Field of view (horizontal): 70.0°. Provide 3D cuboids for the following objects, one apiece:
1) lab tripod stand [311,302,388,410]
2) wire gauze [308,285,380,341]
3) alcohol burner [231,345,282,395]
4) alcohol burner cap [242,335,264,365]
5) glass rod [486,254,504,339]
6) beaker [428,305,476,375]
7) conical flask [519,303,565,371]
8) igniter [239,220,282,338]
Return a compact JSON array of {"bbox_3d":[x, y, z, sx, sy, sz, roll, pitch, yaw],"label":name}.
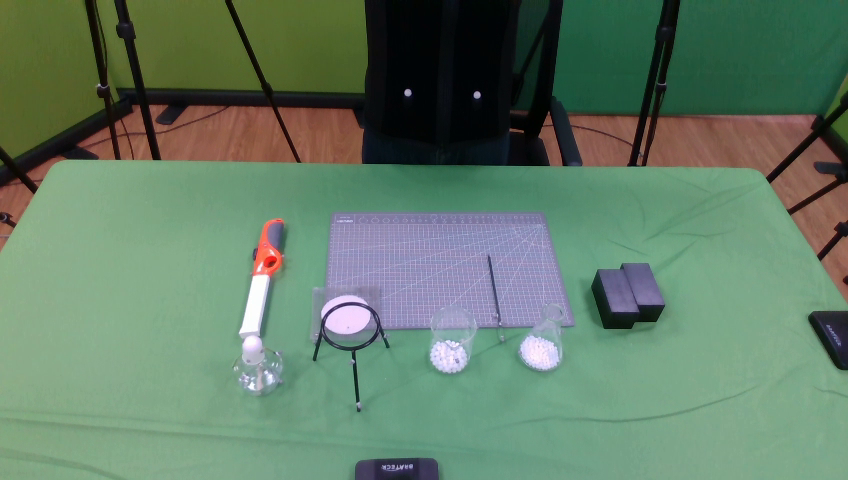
[{"bbox_3d":[-0.113,0.168,0.951,0.148,0.132,0.147,2,44,-2],"label":"lab tripod stand"},{"bbox_3d":[-0.141,0.128,1.071,0.125,0.011,0.120,-1,46,-5],"label":"wire gauze"},{"bbox_3d":[-0.260,0.187,0.935,0.078,0.119,0.077,3,44,-3],"label":"alcohol burner"},{"bbox_3d":[-0.258,0.163,0.908,0.034,0.048,0.033,6,48,-6],"label":"alcohol burner cap"},{"bbox_3d":[0.130,0.099,1.119,0.008,0.008,0.198,-1,46,-4],"label":"glass rod"},{"bbox_3d":[0.044,0.169,0.987,0.074,0.101,0.083,1,47,-3],"label":"beaker"},{"bbox_3d":[0.201,0.155,0.997,0.075,0.122,0.075,2,46,-2],"label":"conical flask"},{"bbox_3d":[-0.298,0.061,1.113,0.057,0.025,0.274,-5,46,4],"label":"igniter"}]
